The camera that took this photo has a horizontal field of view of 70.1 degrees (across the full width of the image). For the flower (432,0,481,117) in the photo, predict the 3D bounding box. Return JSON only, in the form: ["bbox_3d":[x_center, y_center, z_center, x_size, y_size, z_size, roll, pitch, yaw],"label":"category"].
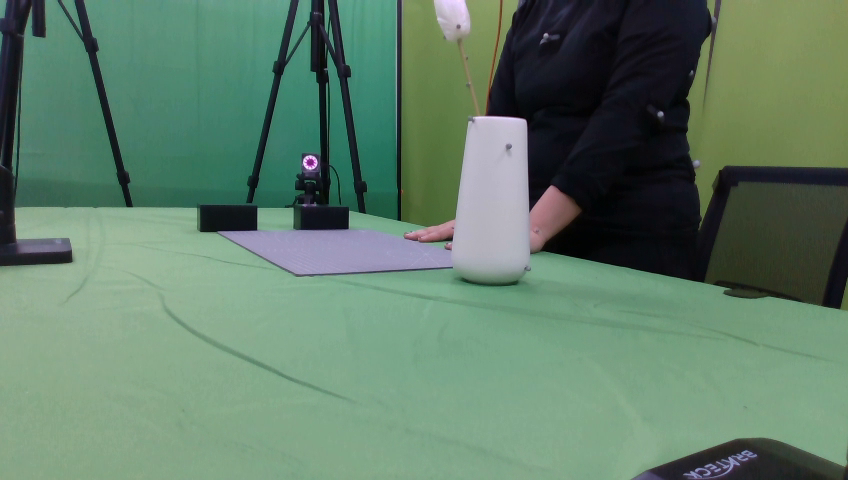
[{"bbox_3d":[0.071,-0.129,0.736,0.038,0.361,0.044,-16,-2,42],"label":"flower"}]

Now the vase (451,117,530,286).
[{"bbox_3d":[0.083,-0.047,0.737,0.098,0.200,0.098,2,6,0],"label":"vase"}]
